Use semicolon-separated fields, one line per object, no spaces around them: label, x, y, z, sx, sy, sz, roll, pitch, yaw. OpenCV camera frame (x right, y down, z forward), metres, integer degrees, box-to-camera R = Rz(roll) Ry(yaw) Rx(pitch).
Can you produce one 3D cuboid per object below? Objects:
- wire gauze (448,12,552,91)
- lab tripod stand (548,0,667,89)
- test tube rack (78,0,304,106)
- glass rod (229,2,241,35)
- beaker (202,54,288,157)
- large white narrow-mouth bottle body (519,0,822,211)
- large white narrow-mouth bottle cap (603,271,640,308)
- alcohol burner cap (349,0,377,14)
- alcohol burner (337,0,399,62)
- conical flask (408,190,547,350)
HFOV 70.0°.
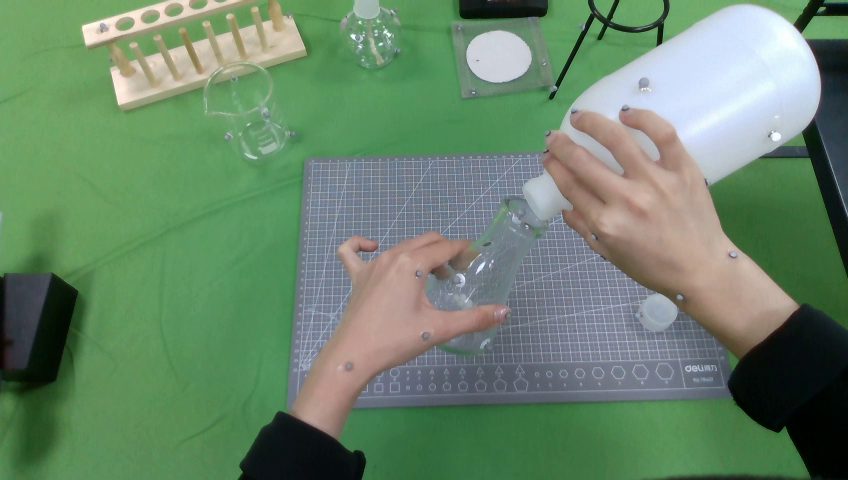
wire gauze;0.098;-0.251;0.793;0.121;0.011;0.124;-6;65;-3
lab tripod stand;0.226;-0.243;0.720;0.148;0.132;0.147;1;64;-1
test tube rack;-0.282;-0.255;0.755;0.242;0.086;0.066;-20;67;-9
glass rod;-0.236;-0.316;0.709;0.008;0.201;0.008;2;63;-3
beaker;-0.204;-0.148;0.698;0.084;0.101;0.073;-41;71;-16
large white narrow-mouth bottle body;0.156;-0.079;0.419;0.194;0.102;0.101;-30;67;2
large white narrow-mouth bottle cap;0.210;0.053;0.646;0.038;0.024;0.037;-1;65;2
alcohol burner cap;-0.071;-0.297;0.718;0.034;0.048;0.033;4;64;-7
alcohol burner;-0.071;-0.280;0.750;0.078;0.120;0.077;0;63;0
conical flask;0.044;0.019;0.455;0.076;0.122;0.074;21;34;-15
